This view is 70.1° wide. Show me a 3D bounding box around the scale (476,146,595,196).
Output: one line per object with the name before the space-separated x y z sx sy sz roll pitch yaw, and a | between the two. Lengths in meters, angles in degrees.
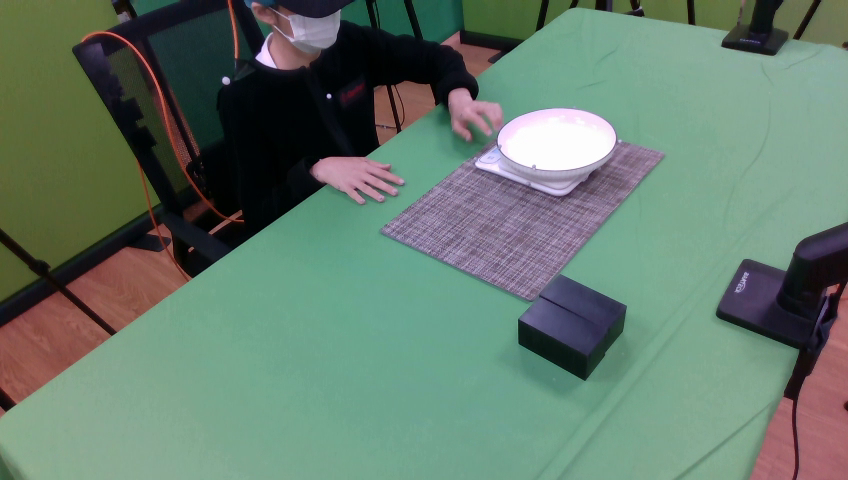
scale | 0.209 -0.148 1.105 0.199 0.032 0.149 26 50 34

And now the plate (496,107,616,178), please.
plate | 0.232 -0.169 1.074 0.207 0.039 0.206 -5 41 5
